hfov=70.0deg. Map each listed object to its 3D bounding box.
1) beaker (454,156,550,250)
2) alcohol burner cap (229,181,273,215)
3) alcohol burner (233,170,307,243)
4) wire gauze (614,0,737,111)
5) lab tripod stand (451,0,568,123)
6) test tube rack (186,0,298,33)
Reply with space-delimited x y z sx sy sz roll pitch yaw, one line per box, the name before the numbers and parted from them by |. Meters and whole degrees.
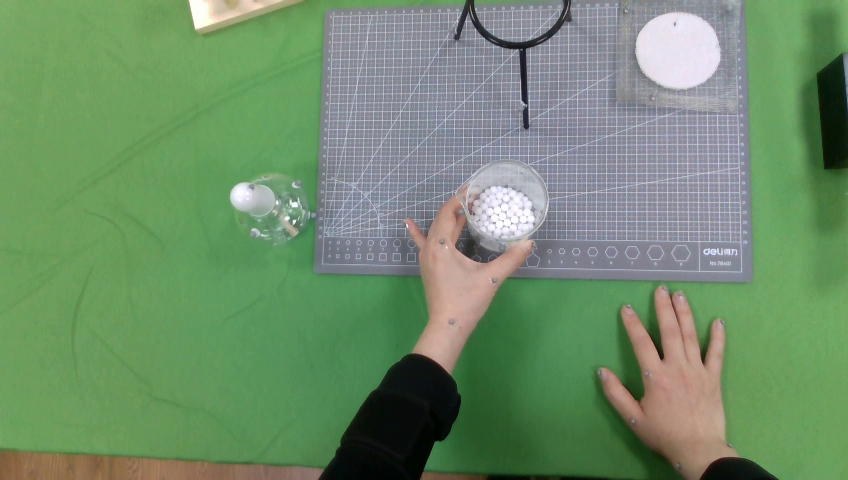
beaker | 0.071 -0.030 0.571 0.084 0.100 0.074 10 83 6
alcohol burner cap | -0.169 -0.042 0.581 0.034 0.048 0.034 0 87 7
alcohol burner | -0.163 -0.037 0.616 0.078 0.119 0.077 -1 81 6
wire gauze | 0.261 -0.198 0.630 0.125 0.011 0.121 5 84 5
lab tripod stand | 0.090 -0.202 0.588 0.148 0.132 0.148 0 85 6
test tube rack | -0.162 -0.310 0.658 0.242 0.085 0.066 -16 82 5
